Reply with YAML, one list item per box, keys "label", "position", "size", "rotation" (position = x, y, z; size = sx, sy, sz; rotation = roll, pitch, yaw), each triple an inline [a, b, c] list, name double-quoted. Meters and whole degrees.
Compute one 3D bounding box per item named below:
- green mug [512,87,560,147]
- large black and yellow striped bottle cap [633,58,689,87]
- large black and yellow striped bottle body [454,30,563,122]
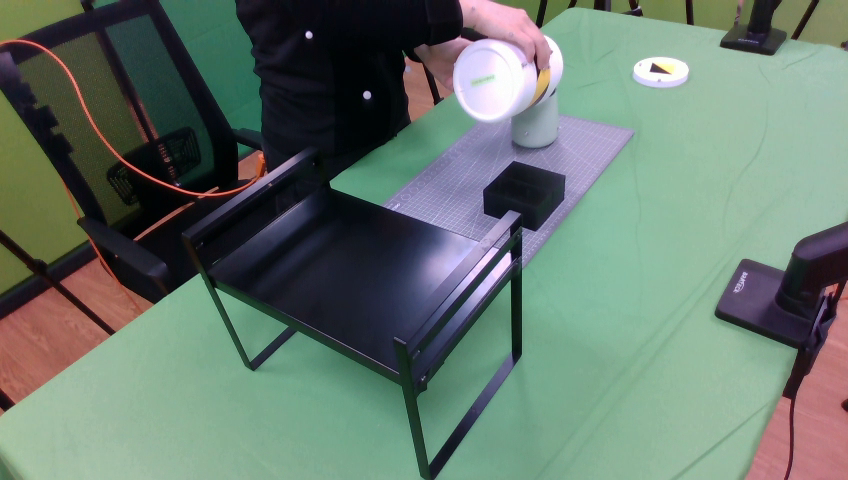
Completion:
- label: "green mug"
  position: [0.217, -0.251, 1.169]
  size: [0.092, 0.105, 0.125]
  rotation: [2, 41, 12]
- label: "large black and yellow striped bottle cap"
  position: [0.522, -0.370, 1.331]
  size: [0.115, 0.019, 0.114]
  rotation: [-3, 41, 3]
- label: "large black and yellow striped bottle body"
  position: [0.150, -0.282, 1.024]
  size: [0.130, 0.131, 0.185]
  rotation: [21, 34, 29]
